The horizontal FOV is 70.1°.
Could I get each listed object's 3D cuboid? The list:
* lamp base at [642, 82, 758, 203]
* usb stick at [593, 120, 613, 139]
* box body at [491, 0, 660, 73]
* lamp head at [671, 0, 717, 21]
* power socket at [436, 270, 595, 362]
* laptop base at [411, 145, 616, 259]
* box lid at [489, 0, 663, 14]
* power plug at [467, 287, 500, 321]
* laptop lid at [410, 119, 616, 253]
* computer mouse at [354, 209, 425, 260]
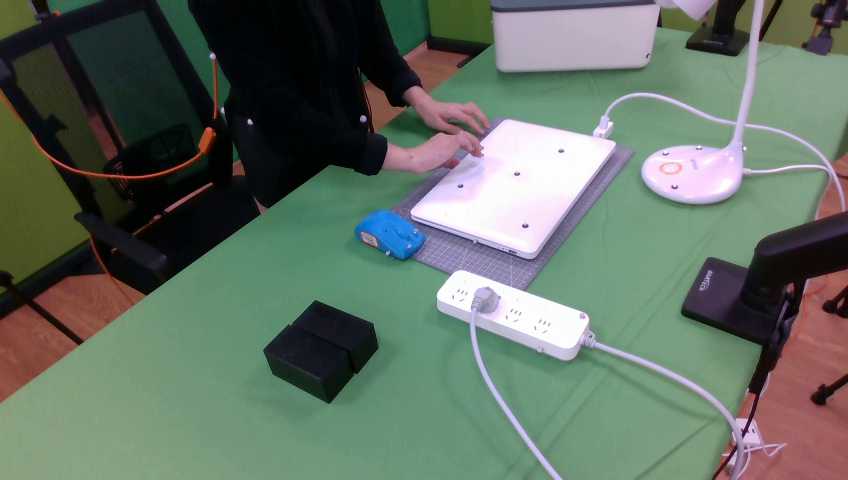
[{"bbox_3d":[0.464,-0.174,0.992,0.179,0.181,0.159,-5,41,-1],"label":"lamp base"},{"bbox_3d":[0.336,-0.201,1.147,0.021,0.027,0.059,26,53,27],"label":"usb stick"},{"bbox_3d":[0.347,-0.521,1.429,0.363,0.161,0.253,1,41,9],"label":"box body"},{"bbox_3d":[0.375,-0.373,0.807,0.122,0.113,0.112,-40,27,32],"label":"lamp head"},{"bbox_3d":[0.118,0.101,0.832,0.225,0.033,0.072,19,48,27],"label":"power socket"},{"bbox_3d":[0.168,-0.102,1.073,0.234,0.023,0.355,17,46,30],"label":"laptop base"},{"bbox_3d":[0.341,-0.576,1.380,0.371,0.015,0.262,0,41,10],"label":"box lid"},{"bbox_3d":[0.073,0.092,0.814,0.035,0.053,0.073,29,54,34],"label":"power plug"},{"bbox_3d":[0.165,-0.113,1.066,0.240,0.013,0.357,20,47,30],"label":"laptop lid"},{"bbox_3d":[-0.057,-0.012,0.982,0.116,0.041,0.063,27,49,29],"label":"computer mouse"}]
